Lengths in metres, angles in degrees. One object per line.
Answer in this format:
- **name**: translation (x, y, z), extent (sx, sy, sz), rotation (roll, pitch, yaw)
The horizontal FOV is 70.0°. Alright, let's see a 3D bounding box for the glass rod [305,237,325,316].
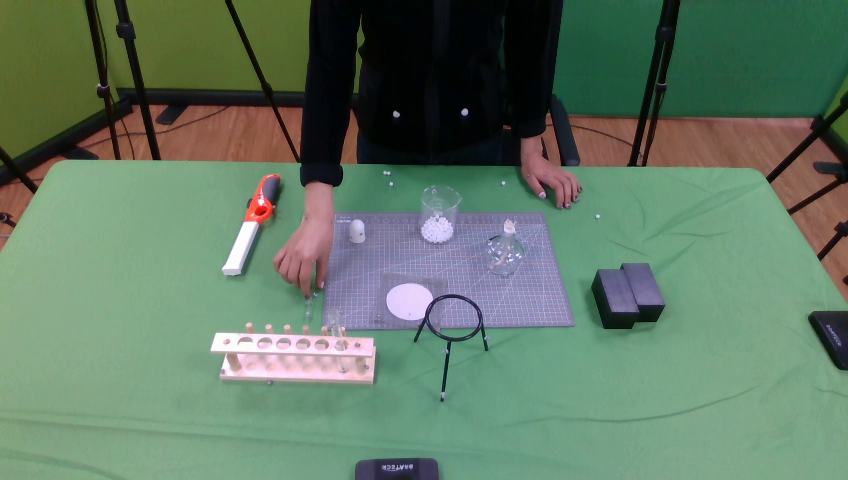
- **glass rod**: translation (-0.203, 0.064, 1.132), extent (0.008, 0.008, 0.198), rotation (3, 43, 0)

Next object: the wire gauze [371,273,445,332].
- **wire gauze**: translation (-0.028, 0.109, 1.100), extent (0.125, 0.011, 0.121), rotation (7, 45, 4)

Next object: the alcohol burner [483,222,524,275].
- **alcohol burner**: translation (0.152, 0.010, 1.136), extent (0.078, 0.119, 0.077), rotation (4, 46, -4)

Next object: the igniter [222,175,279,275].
- **igniter**: translation (-0.341, -0.039, 1.207), extent (0.057, 0.025, 0.275), rotation (-1, 45, 9)

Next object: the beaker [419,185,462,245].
- **beaker**: translation (0.029, -0.047, 1.191), extent (0.084, 0.101, 0.073), rotation (-5, 47, -10)

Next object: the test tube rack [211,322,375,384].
- **test tube rack**: translation (-0.203, 0.176, 0.969), extent (0.242, 0.085, 0.066), rotation (3, 46, -2)

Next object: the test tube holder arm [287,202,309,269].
- **test tube holder arm**: translation (-0.247, -0.013, 1.193), extent (0.013, 0.015, 0.177), rotation (29, 39, -27)

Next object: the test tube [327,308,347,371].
- **test tube**: translation (-0.132, 0.155, 0.926), extent (0.017, 0.151, 0.017), rotation (0, 45, 0)

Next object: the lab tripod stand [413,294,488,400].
- **lab tripod stand**: translation (0.044, 0.159, 0.972), extent (0.148, 0.132, 0.147), rotation (2, 44, -2)

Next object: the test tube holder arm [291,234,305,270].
- **test tube holder arm**: translation (-0.243, 0.021, 1.164), extent (0.010, 0.015, 0.087), rotation (31, 38, -25)

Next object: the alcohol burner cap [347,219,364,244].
- **alcohol burner cap**: translation (-0.135, -0.019, 1.190), extent (0.034, 0.048, 0.033), rotation (2, 45, -2)
